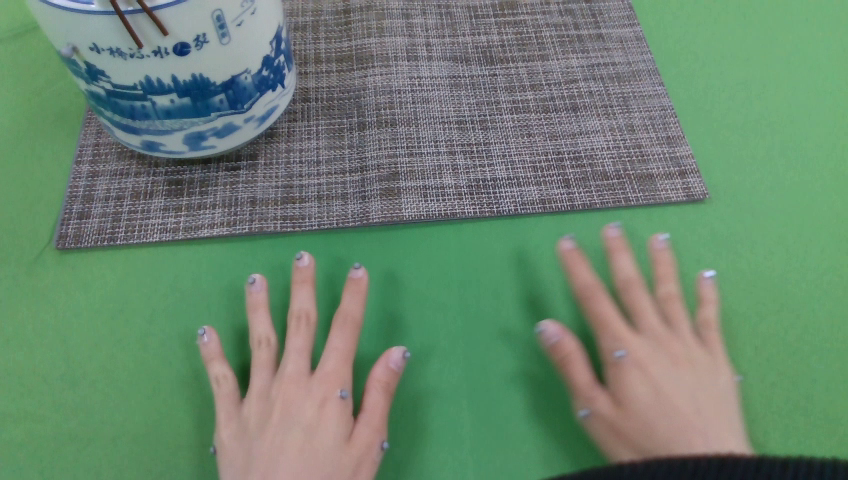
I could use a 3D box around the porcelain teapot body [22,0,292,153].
[{"bbox_3d":[-0.174,-0.192,0.381,0.145,0.227,0.203,-10,60,-7],"label":"porcelain teapot body"}]
